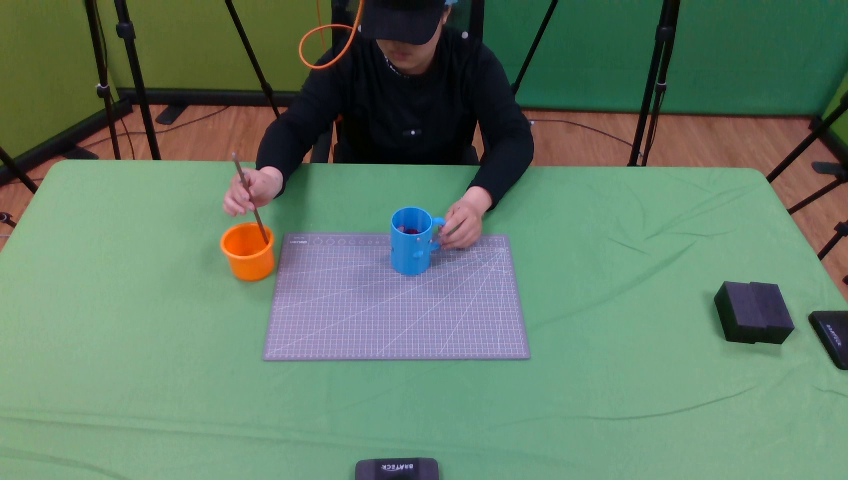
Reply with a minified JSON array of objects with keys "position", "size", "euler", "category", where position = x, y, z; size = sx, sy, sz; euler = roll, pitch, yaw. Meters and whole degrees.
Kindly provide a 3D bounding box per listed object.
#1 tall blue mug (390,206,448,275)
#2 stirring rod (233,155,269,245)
[{"position":[-0.016,-0.006,1.140],"size":[0.077,0.108,0.107],"euler":[30,51,24],"category":"tall blue mug"},{"position":[-0.301,-0.067,1.057],"size":[0.006,0.177,0.014],"euler":[-31,36,-29],"category":"stirring rod"}]
